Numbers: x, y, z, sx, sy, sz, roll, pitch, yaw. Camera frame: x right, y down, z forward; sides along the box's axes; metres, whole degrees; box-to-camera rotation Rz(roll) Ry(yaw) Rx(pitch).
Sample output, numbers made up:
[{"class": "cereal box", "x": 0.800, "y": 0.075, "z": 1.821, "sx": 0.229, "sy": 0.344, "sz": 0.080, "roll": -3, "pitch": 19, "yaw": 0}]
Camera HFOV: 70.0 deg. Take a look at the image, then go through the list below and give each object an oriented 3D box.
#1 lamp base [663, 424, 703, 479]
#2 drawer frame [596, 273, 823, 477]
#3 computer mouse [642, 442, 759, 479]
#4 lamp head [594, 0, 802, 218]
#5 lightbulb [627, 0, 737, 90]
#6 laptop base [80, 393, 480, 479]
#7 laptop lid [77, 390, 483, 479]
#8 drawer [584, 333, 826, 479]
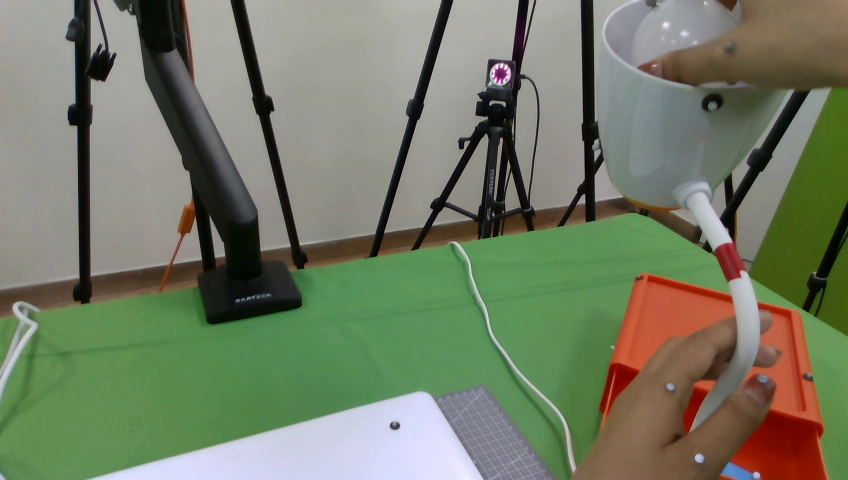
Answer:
[{"class": "lamp base", "x": 0.161, "y": 0.224, "z": 0.396, "sx": 0.161, "sy": 0.181, "sz": 0.178, "roll": 5, "pitch": 25, "yaw": -1}, {"class": "drawer frame", "x": 0.319, "y": 0.138, "z": 0.693, "sx": 0.200, "sy": 0.083, "sz": 0.213, "roll": 14, "pitch": 28, "yaw": 19}, {"class": "computer mouse", "x": 0.257, "y": 0.225, "z": 0.556, "sx": 0.117, "sy": 0.041, "sz": 0.062, "roll": 14, "pitch": 29, "yaw": 11}, {"class": "lamp head", "x": 0.161, "y": -0.075, "z": 0.387, "sx": 0.112, "sy": 0.124, "sz": 0.111, "roll": -3, "pitch": 41, "yaw": 3}, {"class": "lightbulb", "x": 0.152, "y": -0.092, "z": 0.371, "sx": 0.059, "sy": 0.109, "sz": 0.059, "roll": -3, "pitch": 45, "yaw": 3}, {"class": "laptop base", "x": -0.112, "y": 0.247, "z": 0.492, "sx": 0.356, "sy": 0.023, "sz": 0.233, "roll": -9, "pitch": 34, "yaw": -24}, {"class": "laptop lid", "x": -0.110, "y": 0.238, "z": 0.484, "sx": 0.358, "sy": 0.013, "sz": 0.239, "roll": -8, "pitch": 32, "yaw": -22}, {"class": "drawer", "x": 0.275, "y": 0.186, "z": 0.602, "sx": 0.193, "sy": 0.074, "sz": 0.211, "roll": 13, "pitch": 28, "yaw": 18}]
